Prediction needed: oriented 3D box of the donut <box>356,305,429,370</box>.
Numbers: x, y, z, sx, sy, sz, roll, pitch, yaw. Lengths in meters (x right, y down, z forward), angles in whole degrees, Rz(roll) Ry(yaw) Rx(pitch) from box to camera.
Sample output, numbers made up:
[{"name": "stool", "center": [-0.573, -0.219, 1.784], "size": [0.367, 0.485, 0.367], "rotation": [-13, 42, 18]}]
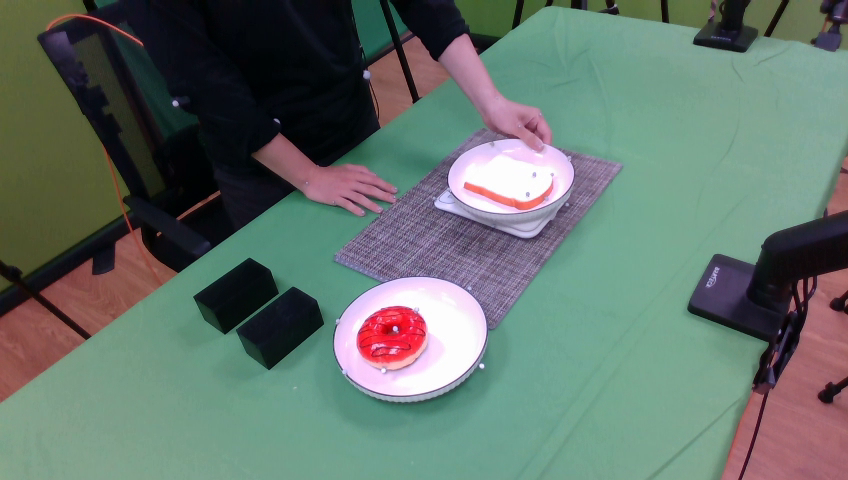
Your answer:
[{"name": "donut", "center": [-0.041, 0.127, 0.798], "size": [0.099, 0.048, 0.098], "rotation": [-7, 40, 6]}]

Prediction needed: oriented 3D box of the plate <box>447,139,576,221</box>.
[{"name": "plate", "center": [0.144, -0.095, 0.994], "size": [0.209, 0.038, 0.208], "rotation": [-4, 41, 4]}]

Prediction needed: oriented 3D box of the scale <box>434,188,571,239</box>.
[{"name": "scale", "center": [0.132, -0.075, 1.024], "size": [0.199, 0.032, 0.149], "rotation": [22, 48, 30]}]

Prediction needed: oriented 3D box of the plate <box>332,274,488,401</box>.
[{"name": "plate", "center": [-0.017, 0.130, 0.808], "size": [0.207, 0.039, 0.206], "rotation": [-4, 41, 4]}]

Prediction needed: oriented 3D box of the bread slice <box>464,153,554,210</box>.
[{"name": "bread slice", "center": [0.148, -0.097, 0.997], "size": [0.130, 0.019, 0.105], "rotation": [26, 53, 32]}]
